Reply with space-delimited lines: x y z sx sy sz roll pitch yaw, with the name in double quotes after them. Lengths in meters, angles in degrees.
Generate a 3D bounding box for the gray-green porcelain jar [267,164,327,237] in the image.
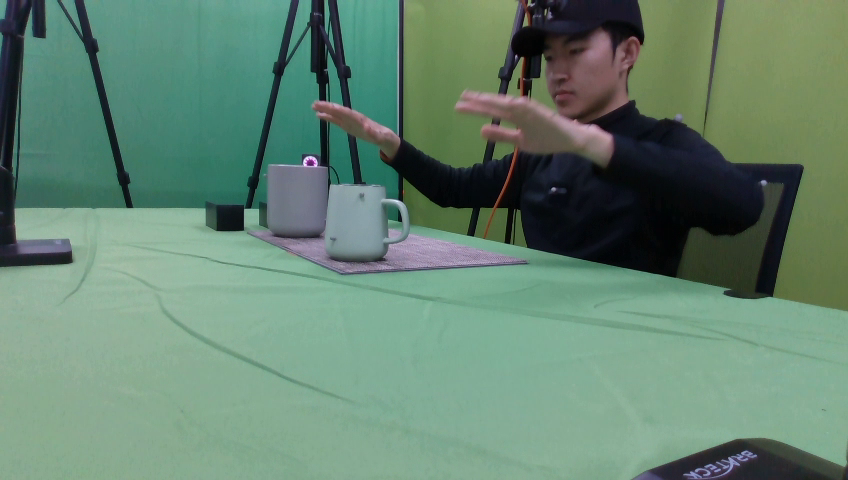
-0.227 -0.072 1.086 0.106 0.126 0.106 2 7 0 "gray-green porcelain jar"

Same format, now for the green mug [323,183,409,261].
-0.080 -0.026 0.851 0.125 0.105 0.093 5 7 20 "green mug"
